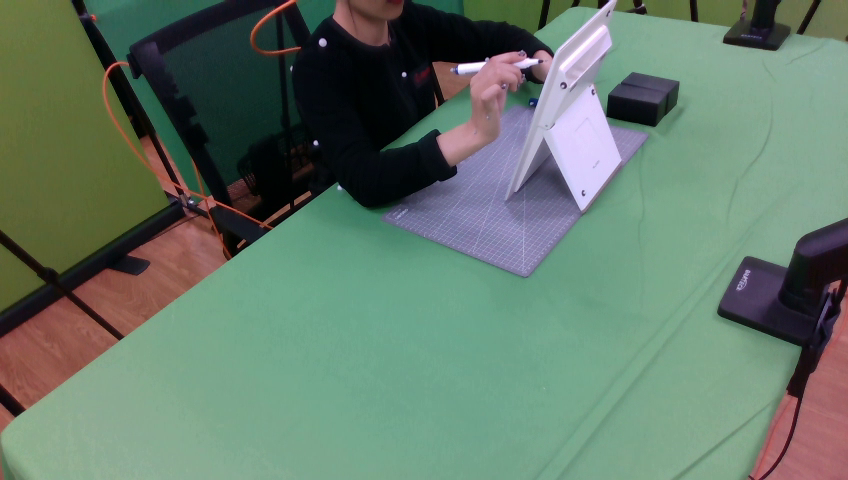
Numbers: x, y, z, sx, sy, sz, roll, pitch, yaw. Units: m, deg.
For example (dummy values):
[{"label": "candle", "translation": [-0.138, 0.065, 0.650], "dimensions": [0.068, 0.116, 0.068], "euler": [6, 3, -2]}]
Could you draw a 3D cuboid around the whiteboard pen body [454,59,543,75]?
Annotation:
[{"label": "whiteboard pen body", "translation": [0.113, -0.265, 0.925], "dimensions": [0.140, 0.017, 0.017], "euler": [2, 41, 24]}]

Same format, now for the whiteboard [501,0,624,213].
[{"label": "whiteboard", "translation": [0.271, -0.189, 0.977], "dimensions": [0.143, 0.306, 0.218], "euler": [34, 53, 16]}]

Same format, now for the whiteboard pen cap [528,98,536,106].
[{"label": "whiteboard pen cap", "translation": [0.239, -0.293, 1.288], "dimensions": [0.033, 0.018, 0.018], "euler": [22, 50, 36]}]
